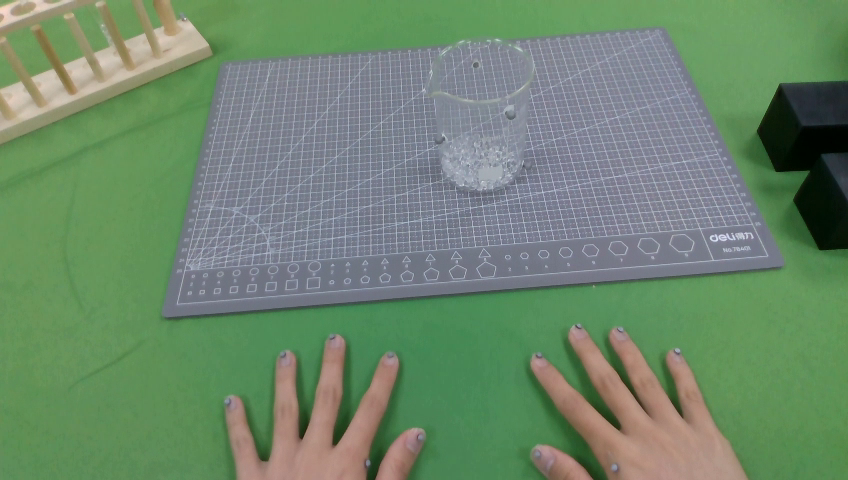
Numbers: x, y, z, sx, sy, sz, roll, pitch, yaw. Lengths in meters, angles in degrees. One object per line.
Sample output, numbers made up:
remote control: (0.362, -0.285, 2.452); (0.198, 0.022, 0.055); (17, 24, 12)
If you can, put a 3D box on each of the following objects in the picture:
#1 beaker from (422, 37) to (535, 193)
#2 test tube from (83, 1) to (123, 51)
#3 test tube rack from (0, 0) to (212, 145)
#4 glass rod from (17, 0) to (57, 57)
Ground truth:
beaker: (0.041, -0.091, 0.471); (0.084, 0.101, 0.073); (-20, 53, -11)
test tube: (-0.318, -0.237, 0.554); (0.017, 0.151, 0.017); (-3, 55, 5)
test tube rack: (-0.338, -0.178, 0.573); (0.242, 0.086, 0.066); (-30, 56, -18)
glass rod: (-0.353, -0.217, 0.519); (0.008, 0.201, 0.008); (1, 54, -1)
